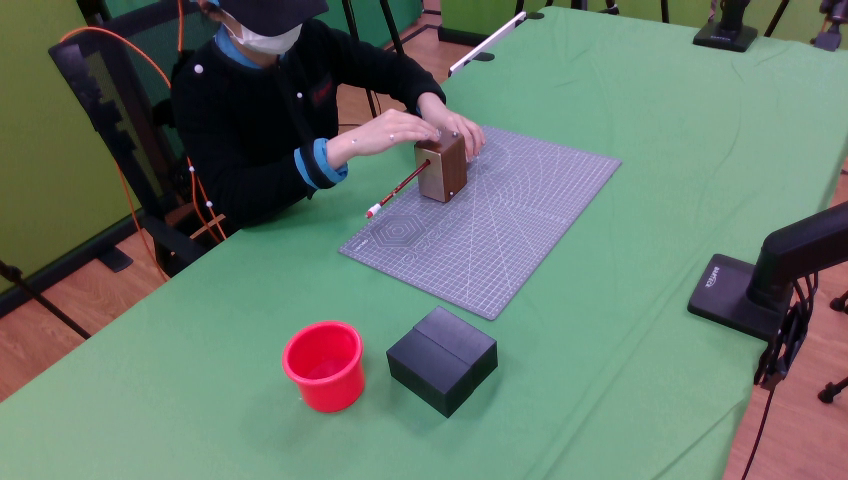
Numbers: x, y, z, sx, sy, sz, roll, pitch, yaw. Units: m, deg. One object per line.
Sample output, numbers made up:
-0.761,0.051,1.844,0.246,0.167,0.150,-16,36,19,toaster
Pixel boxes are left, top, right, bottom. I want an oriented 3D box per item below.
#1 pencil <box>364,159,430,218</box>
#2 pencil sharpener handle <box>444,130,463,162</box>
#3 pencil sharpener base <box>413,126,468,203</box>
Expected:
-0.031,-0.094,0.977,0.012,0.012,0.194,24,53,32,pencil
0.058,-0.171,1.070,0.036,0.068,0.031,27,51,23,pencil sharpener handle
0.032,-0.132,1.047,0.061,0.107,0.077,21,48,30,pencil sharpener base
